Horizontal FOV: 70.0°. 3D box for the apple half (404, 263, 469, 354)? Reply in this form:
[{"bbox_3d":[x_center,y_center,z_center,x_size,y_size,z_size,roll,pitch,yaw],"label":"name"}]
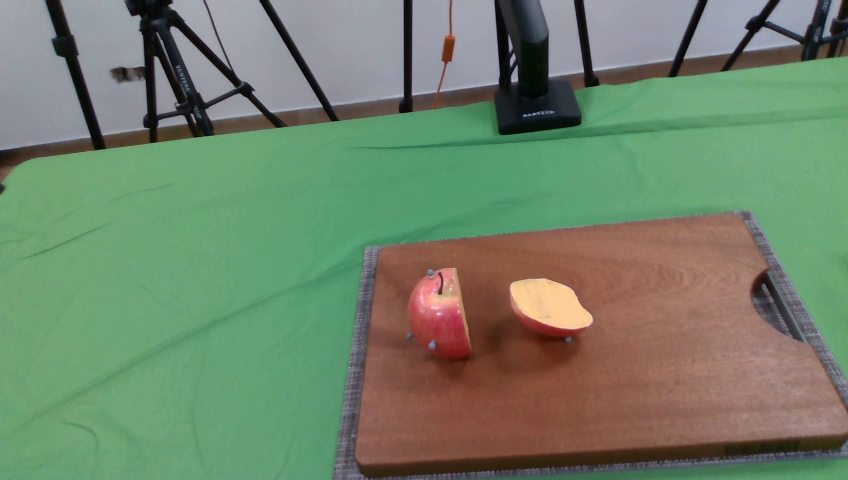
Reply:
[{"bbox_3d":[0.010,0.068,0.562,0.053,0.075,0.080,-14,46,4],"label":"apple half"}]

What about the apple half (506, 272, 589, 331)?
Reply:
[{"bbox_3d":[0.110,0.064,0.568,0.081,0.033,0.080,11,30,-6],"label":"apple half"}]
